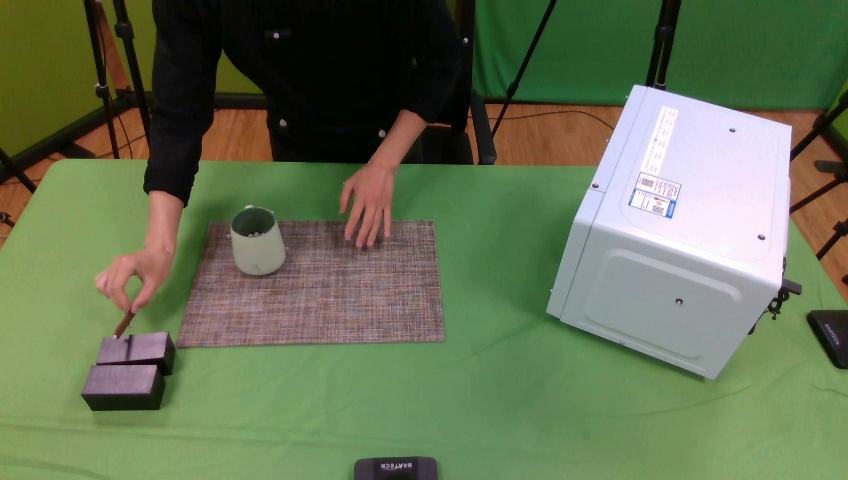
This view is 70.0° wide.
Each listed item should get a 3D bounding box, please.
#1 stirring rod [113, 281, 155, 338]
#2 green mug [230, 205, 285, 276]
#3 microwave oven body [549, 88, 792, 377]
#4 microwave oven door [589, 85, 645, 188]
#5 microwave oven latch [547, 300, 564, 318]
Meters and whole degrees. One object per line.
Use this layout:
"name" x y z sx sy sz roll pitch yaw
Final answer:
"stirring rod" -0.475 0.111 0.999 0.006 0.014 0.175 -8 23 -1
"green mug" -0.311 -0.008 1.118 0.092 0.105 0.124 -14 48 -16
"microwave oven body" 0.456 -0.028 1.088 0.325 0.261 0.440 20 47 16
"microwave oven door" 0.342 -0.107 1.149 0.039 0.245 0.354 20 48 15
"microwave oven latch" 0.242 0.102 1.081 0.030 0.029 0.079 21 48 17
